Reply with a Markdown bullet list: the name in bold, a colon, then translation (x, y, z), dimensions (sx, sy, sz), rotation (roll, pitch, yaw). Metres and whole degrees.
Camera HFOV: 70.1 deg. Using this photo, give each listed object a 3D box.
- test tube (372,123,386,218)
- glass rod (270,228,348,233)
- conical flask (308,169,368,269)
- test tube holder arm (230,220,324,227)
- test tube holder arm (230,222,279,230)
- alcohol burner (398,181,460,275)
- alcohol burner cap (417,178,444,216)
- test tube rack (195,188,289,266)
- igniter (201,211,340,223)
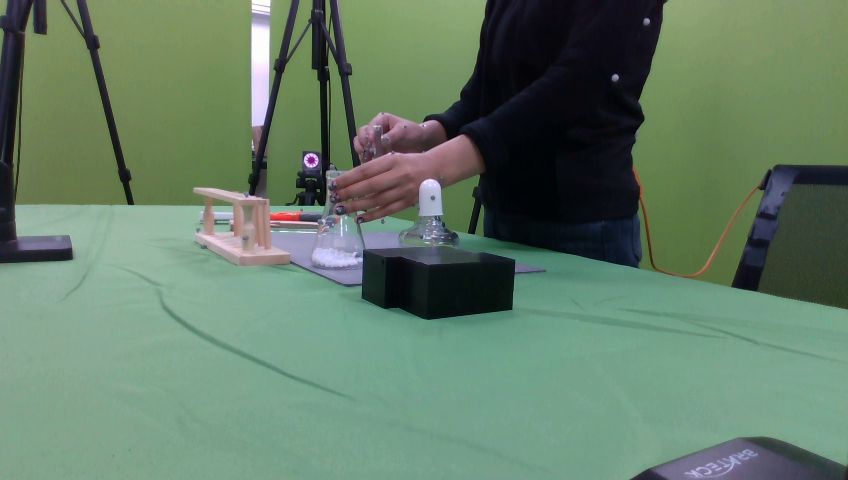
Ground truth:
- **test tube**: translation (-0.071, -0.108, 0.950), dimensions (0.017, 0.150, 0.017), rotation (-2, 13, 1)
- **glass rod**: translation (-0.234, -0.018, 1.104), dimensions (0.201, 0.008, 0.008), rotation (1, 7, -26)
- **conical flask**: translation (-0.107, -0.028, 0.762), dimensions (0.075, 0.122, 0.075), rotation (2, 7, 0)
- **test tube holder arm**: translation (-0.275, -0.030, 1.145), dimensions (0.179, 0.015, 0.013), rotation (-3, 45, -31)
- **test tube holder arm**: translation (-0.312, -0.025, 1.118), dimensions (0.088, 0.015, 0.010), rotation (-1, 45, -30)
- **alcohol burner**: translation (0.007, -0.017, 0.751), dimensions (0.078, 0.119, 0.078), rotation (3, 9, 0)
- **alcohol burner cap**: translation (0.007, -0.053, 0.745), dimensions (0.034, 0.048, 0.034), rotation (-3, 6, 1)
- **test tube rack**: translation (-0.266, -0.025, 0.863), dimensions (0.067, 0.085, 0.241), rotation (-2, 8, -33)
- **igniter**: translation (-0.311, -0.047, 1.243), dimensions (0.278, 0.025, 0.057), rotation (-1, -2, -24)
